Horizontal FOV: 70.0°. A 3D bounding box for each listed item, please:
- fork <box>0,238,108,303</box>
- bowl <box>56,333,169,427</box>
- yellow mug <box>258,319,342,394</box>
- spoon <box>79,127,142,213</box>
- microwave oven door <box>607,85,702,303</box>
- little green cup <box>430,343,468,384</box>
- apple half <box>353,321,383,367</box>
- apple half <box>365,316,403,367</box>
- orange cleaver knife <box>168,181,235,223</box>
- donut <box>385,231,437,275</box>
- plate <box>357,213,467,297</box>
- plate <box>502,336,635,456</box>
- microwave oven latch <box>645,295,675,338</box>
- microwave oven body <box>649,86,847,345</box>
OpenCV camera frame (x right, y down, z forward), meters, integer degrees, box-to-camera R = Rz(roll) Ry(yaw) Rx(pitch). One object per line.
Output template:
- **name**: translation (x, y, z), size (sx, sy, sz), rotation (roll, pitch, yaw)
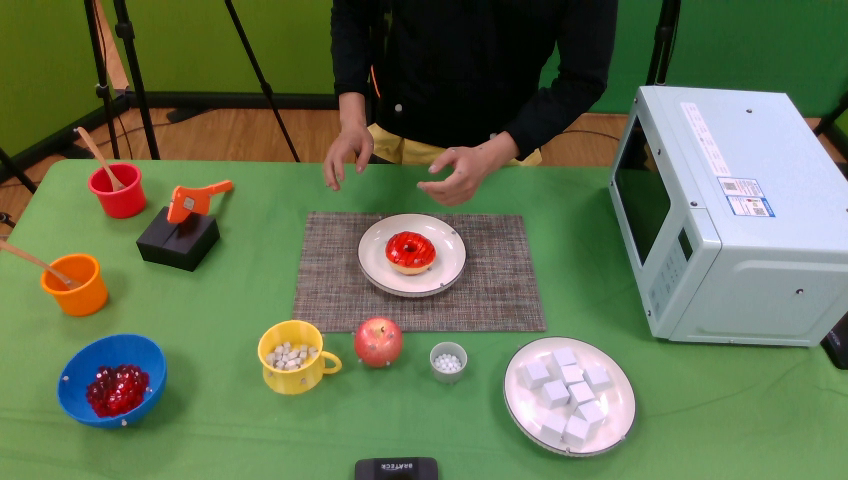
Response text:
- **fork**: translation (-0.633, 0.048, 1.017), size (0.208, 0.018, 0.028), rotation (40, 41, -27)
- **bowl**: translation (-0.456, 0.223, 0.911), size (0.151, 0.077, 0.150), rotation (3, 46, -2)
- **yellow mug**: translation (-0.195, 0.188, 0.972), size (0.131, 0.064, 0.099), rotation (9, 47, 4)
- **spoon**: translation (-0.624, -0.139, 1.203), size (0.041, 0.021, 0.194), rotation (-33, 100, -25)
- **microwave oven door**: translation (0.423, -0.094, 1.140), size (0.039, 0.245, 0.353), rotation (2, 46, -1)
- **little green cup**: translation (0.039, 0.203, 0.993), size (0.061, 0.039, 0.061), rotation (2, 46, -2)
- **apple half**: translation (-0.097, 0.177, 0.984), size (0.033, 0.081, 0.081), rotation (-17, 49, -24)
- **apple half**: translation (-0.063, 0.165, 1.000), size (0.053, 0.075, 0.080), rotation (-16, 45, -24)
- **orange cleaver knife**: translation (-0.436, -0.078, 1.196), size (0.012, 0.077, 0.211), rotation (16, 15, 10)
- **donut**: translation (-0.025, 0.024, 1.141), size (0.099, 0.048, 0.098), rotation (3, 44, -3)
- **plate**: translation (-0.023, 0.032, 1.150), size (0.209, 0.038, 0.208), rotation (2, 46, -2)
- **plate**: translation (0.225, 0.248, 0.963), size (0.208, 0.039, 0.206), rotation (2, 46, -2)
- **microwave oven latch**: translation (0.412, 0.134, 1.061), size (0.030, 0.029, 0.078), rotation (3, 45, 0)
- **microwave oven body**: translation (0.568, -0.053, 1.118), size (0.326, 0.261, 0.439), rotation (2, 45, -1)
